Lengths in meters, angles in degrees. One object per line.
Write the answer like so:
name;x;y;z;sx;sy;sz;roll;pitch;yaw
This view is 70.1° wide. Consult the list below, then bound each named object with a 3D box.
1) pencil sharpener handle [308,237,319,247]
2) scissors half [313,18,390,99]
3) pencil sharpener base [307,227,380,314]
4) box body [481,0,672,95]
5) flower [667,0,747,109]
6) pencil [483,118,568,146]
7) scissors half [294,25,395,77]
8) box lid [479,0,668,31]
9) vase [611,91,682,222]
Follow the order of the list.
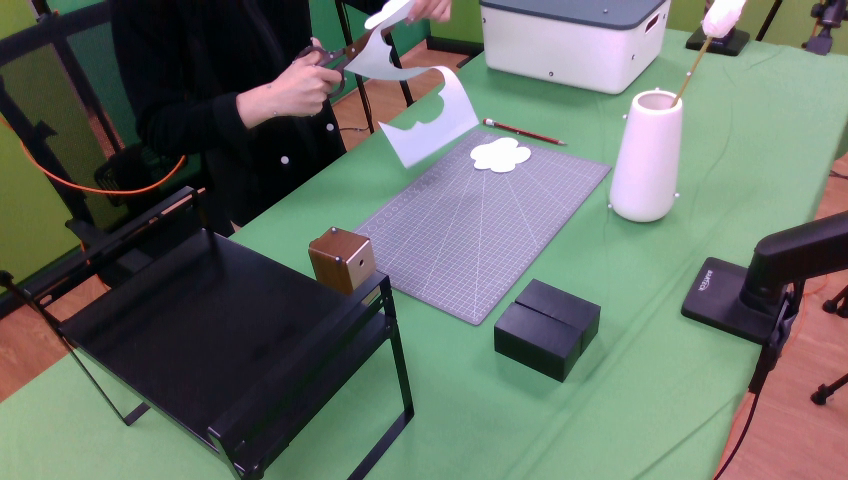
pencil sharpener handle;-0.159;0.017;0.892;0.030;0.068;0.036;18;61;28
scissors half;-0.112;-0.284;0.951;0.175;0.040;0.012;-42;22;26
pencil sharpener base;-0.116;0.043;0.875;0.076;0.107;0.061;18;47;28
box body;0.341;-0.480;1.381;0.361;0.161;0.255;22;48;30
flower;0.354;-0.187;0.879;0.038;0.362;0.044;30;48;14
pencil;0.201;-0.216;1.212;0.192;0.012;0.012;24;49;29
scissors half;-0.125;-0.299;0.941;0.175;0.040;0.013;-17;35;13
box lid;0.335;-0.536;1.331;0.368;0.015;0.264;23;49;30
vase;0.348;-0.125;0.935;0.098;0.201;0.097;-3;40;3
